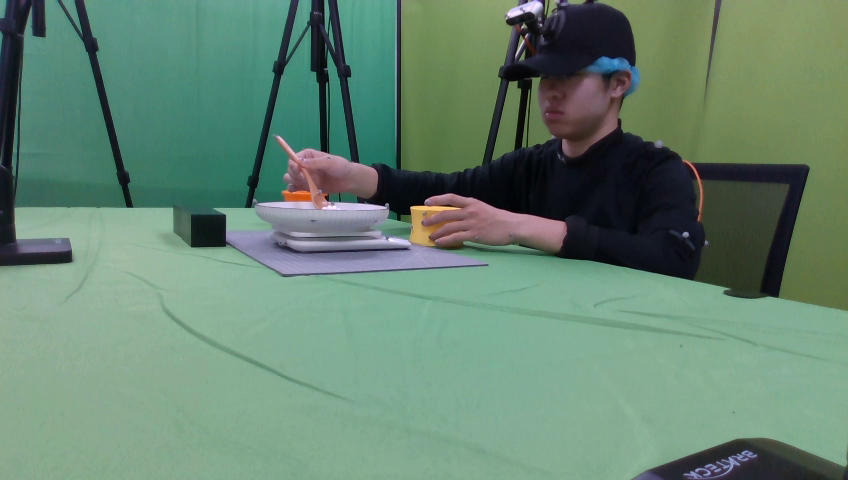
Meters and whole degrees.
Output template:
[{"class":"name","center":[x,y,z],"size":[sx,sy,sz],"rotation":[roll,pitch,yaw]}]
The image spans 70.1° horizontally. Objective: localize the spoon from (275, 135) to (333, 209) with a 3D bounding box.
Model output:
[{"class":"spoon","center":[-0.204,-0.111,1.032],"size":[0.021,0.193,0.042],"rotation":[-43,-21,28]}]

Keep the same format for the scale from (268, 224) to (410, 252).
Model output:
[{"class":"scale","center":[-0.137,-0.006,0.979],"size":[0.202,0.031,0.148],"rotation":[-1,8,-30]}]

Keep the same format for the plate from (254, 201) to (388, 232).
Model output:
[{"class":"plate","center":[-0.161,-0.038,0.961],"size":[0.209,0.038,0.209],"rotation":[2,6,0]}]

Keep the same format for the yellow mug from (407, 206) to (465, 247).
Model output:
[{"class":"yellow mug","center":[0.026,-0.027,1.104],"size":[0.099,0.064,0.131],"rotation":[7,7,20]}]
